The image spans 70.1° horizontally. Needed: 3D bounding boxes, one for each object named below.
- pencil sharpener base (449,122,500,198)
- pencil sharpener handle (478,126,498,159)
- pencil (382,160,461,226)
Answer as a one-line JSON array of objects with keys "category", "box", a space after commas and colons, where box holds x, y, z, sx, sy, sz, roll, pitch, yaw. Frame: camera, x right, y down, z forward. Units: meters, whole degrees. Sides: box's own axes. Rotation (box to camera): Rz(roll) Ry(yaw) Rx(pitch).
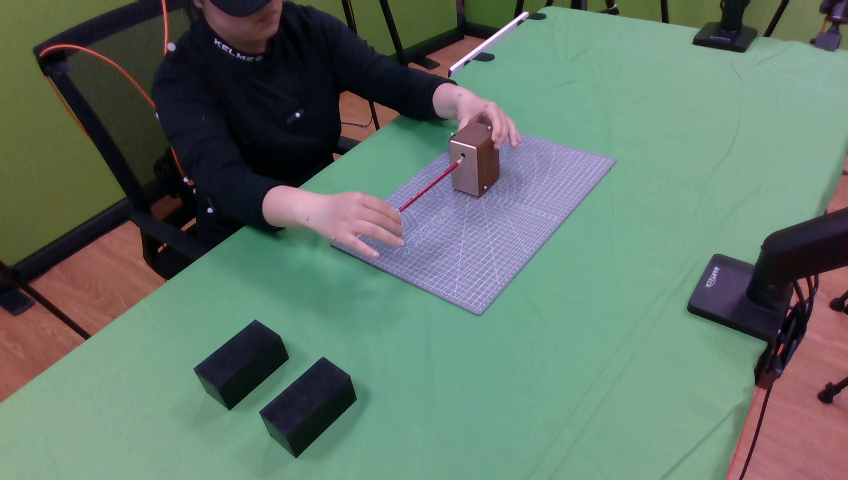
[{"category": "pencil sharpener base", "box": [0.091, -0.140, 1.052, 0.061, 0.107, 0.077, 21, 47, 30]}, {"category": "pencil sharpener handle", "box": [0.118, -0.179, 1.075, 0.035, 0.068, 0.031, 22, 48, 29]}, {"category": "pencil", "box": [0.001, -0.078, 0.950, 0.012, 0.012, 0.194, 24, 50, 32]}]
